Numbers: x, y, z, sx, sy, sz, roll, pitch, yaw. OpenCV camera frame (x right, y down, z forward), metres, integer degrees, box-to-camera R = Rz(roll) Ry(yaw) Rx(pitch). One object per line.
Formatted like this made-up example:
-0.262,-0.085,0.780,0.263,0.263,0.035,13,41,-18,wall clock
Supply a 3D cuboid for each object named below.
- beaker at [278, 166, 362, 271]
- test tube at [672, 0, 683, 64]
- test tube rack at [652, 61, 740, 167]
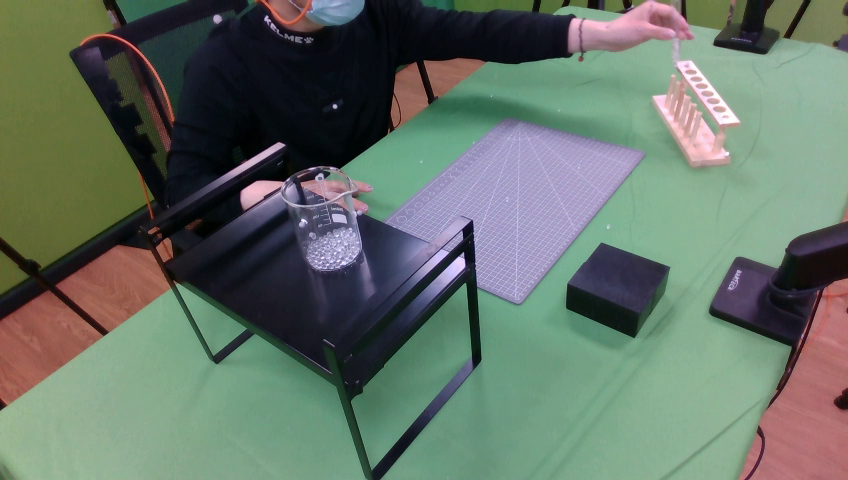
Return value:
-0.109,-0.022,0.675,0.084,0.101,0.073,-2,41,5,beaker
0.434,-0.377,1.035,0.017,0.151,0.017,-9,28,5,test tube
0.499,-0.242,1.130,0.067,0.085,0.241,-5,41,4,test tube rack
